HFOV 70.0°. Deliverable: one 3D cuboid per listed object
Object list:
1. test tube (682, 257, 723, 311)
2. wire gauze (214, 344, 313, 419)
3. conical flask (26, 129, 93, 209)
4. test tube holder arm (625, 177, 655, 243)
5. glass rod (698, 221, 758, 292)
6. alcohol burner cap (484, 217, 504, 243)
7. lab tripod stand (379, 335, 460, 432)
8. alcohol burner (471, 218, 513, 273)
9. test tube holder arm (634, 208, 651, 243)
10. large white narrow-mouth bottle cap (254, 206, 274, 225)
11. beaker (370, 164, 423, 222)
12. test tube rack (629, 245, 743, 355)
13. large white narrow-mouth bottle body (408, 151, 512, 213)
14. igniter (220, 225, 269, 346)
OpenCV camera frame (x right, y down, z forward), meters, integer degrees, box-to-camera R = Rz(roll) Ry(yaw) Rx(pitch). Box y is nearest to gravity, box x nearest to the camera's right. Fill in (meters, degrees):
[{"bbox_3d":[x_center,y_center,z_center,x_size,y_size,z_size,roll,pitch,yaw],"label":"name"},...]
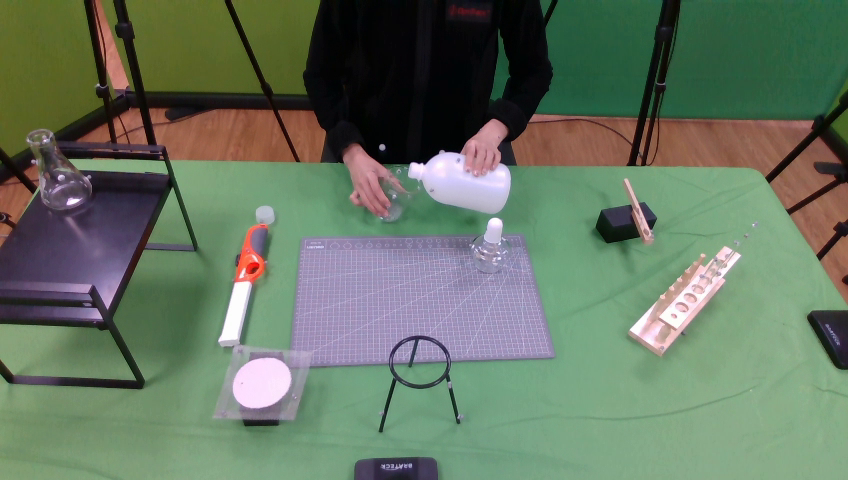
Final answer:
[{"bbox_3d":[0.475,0.080,1.037,0.017,0.151,0.017,1,50,-1],"label":"test tube"},{"bbox_3d":[-0.241,0.213,0.916,0.121,0.011,0.124,5,46,1],"label":"wire gauze"},{"bbox_3d":[-0.575,-0.113,0.946,0.075,0.122,0.075,2,46,-2],"label":"conical flask"},{"bbox_3d":[0.433,-0.063,1.220,0.013,0.015,0.177,1,47,-3],"label":"test tube holder arm"},{"bbox_3d":[0.527,0.035,1.060,0.008,0.200,0.008,5,49,-6],"label":"glass rod"},{"bbox_3d":[0.129,-0.021,1.107,0.034,0.048,0.033,4,40,-3],"label":"alcohol burner cap"},{"bbox_3d":[-0.011,0.214,0.911,0.148,0.132,0.147,1,45,0],"label":"lab tripod stand"},{"bbox_3d":[0.128,0.005,1.132,0.078,0.120,0.077,0,47,0],"label":"alcohol burner"},{"bbox_3d":[0.428,-0.030,1.189,0.010,0.015,0.087,1,47,-2],"label":"test tube holder arm"},{"bbox_3d":[-0.323,-0.049,1.222,0.038,0.024,0.037,2,47,-2],"label":"large white narrow-mouth bottle cap"},{"bbox_3d":[-0.058,-0.091,1.217,0.084,0.100,0.073,18,45,-21],"label":"beaker"},{"bbox_3d":[0.474,0.095,1.091,0.242,0.085,0.066,-34,56,-31],"label":"test tube rack"},{"bbox_3d":[0.065,-0.118,1.175,0.195,0.102,0.101,12,45,-13],"label":"large white narrow-mouth bottle body"},{"bbox_3d":[-0.323,0.072,1.100,0.057,0.025,0.275,-6,46,5],"label":"igniter"}]
